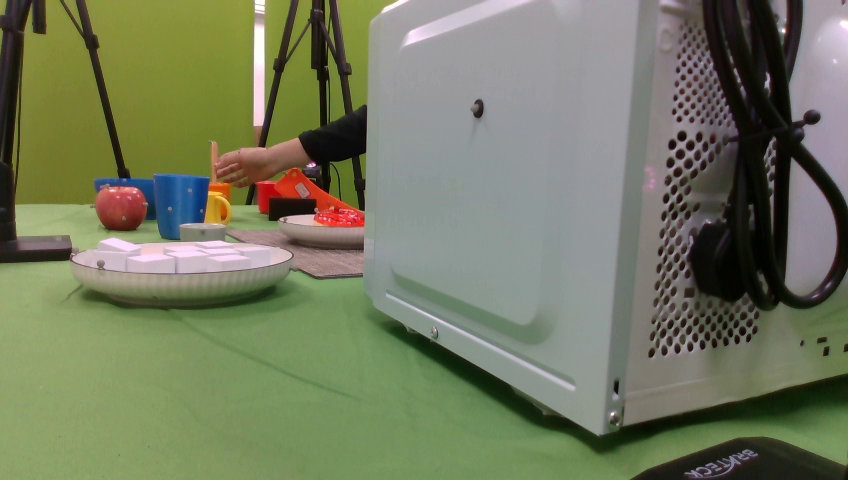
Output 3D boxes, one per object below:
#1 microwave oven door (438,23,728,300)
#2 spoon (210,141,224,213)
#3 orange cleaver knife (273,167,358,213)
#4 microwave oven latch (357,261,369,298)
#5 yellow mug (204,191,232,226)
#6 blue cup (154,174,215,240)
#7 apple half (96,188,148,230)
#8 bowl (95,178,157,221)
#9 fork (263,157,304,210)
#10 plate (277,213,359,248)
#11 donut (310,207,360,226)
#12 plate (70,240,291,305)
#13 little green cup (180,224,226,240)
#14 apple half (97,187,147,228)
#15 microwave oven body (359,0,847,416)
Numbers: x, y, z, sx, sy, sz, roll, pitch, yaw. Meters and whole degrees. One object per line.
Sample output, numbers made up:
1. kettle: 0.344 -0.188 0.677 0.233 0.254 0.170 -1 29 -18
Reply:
1. microwave oven door: 0.181 -0.073 0.620 0.358 0.243 0.039 -2 8 -29
2. spoon: -0.452 -0.135 1.308 0.042 0.193 0.021 3 -26 -21
3. orange cleaver knife: -0.238 -0.091 1.381 0.212 0.077 0.012 30 1 -19
4. microwave oven latch: -0.019 0.033 0.530 0.079 0.029 0.030 0 7 -25
5. yellow mug: -0.415 -0.057 1.131 0.130 0.064 0.100 6 7 16
6. blue cup: -0.392 -0.053 0.978 0.093 0.100 0.092 4 6 0
7. apple half: -0.517 -0.052 1.036 0.081 0.074 0.053 2 10 -26
8. bowl: -0.576 -0.081 1.217 0.151 0.077 0.151 3 8 0
9. fork: -0.345 -0.143 1.505 0.028 0.019 0.207 -5 45 29
10. plate: -0.135 -0.017 0.992 0.209 0.038 0.209 2 8 0
11. donut: -0.137 -0.029 0.995 0.099 0.048 0.099 4 8 0
12. plate: -0.242 0.032 0.618 0.208 0.039 0.207 2 8 0
13. little green cup: -0.309 -0.001 0.846 0.061 0.038 0.061 2 8 0
14. apple half: -0.534 -0.059 1.071 0.082 0.081 0.032 -1 9 -25
15. microwave oven body: 0.211 -0.047 0.474 0.444 0.260 0.324 -1 7 -28
